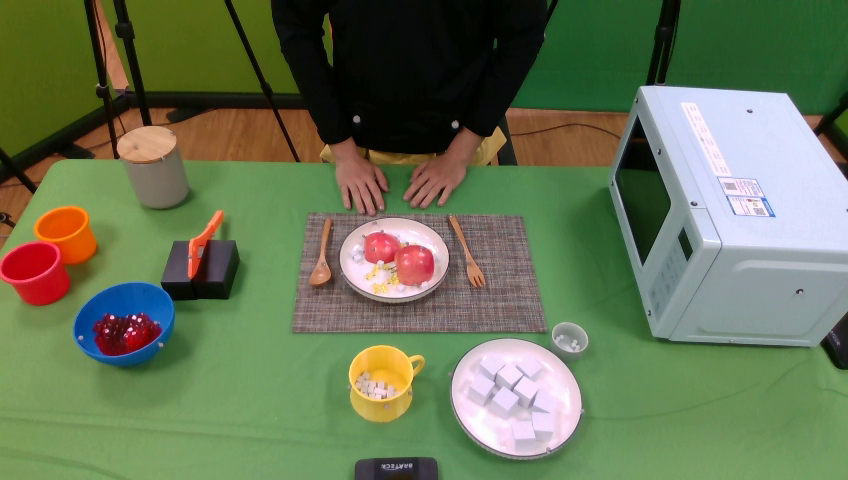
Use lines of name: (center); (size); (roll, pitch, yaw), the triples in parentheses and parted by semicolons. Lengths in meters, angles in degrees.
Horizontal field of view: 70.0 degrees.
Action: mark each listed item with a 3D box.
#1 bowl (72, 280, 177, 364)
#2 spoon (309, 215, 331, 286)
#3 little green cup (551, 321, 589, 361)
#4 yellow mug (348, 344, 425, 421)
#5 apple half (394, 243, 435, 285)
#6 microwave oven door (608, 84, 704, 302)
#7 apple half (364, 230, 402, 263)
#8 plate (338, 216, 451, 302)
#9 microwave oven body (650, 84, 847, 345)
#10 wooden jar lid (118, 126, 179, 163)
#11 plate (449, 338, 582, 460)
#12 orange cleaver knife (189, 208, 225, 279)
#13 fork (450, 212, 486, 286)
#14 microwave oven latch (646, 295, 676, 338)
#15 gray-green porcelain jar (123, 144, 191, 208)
bowl: (-0.472, 0.147, 0.982); (0.151, 0.077, 0.150); (2, 46, -2)
spoon: (-0.191, 0.016, 1.159); (0.041, 0.022, 0.192); (-14, 46, 13)
little green cup: (0.247, 0.175, 1.033); (0.061, 0.039, 0.061); (2, 45, -2)
yellow mug: (-0.054, 0.217, 0.954); (0.131, 0.064, 0.099); (-24, 53, -25)
apple half: (-0.017, 0.037, 1.120); (0.075, 0.053, 0.080); (1, 46, -6)
microwave oven door: (0.424, -0.096, 1.138); (0.039, 0.245, 0.353); (3, 46, -1)
apple half: (-0.079, 0.005, 1.159); (0.081, 0.033, 0.081); (3, 49, -3)
plate: (-0.054, 0.038, 1.138); (0.209, 0.038, 0.208); (2, 46, -2)
microwave oven body: (0.569, -0.054, 1.116); (0.326, 0.261, 0.439); (2, 46, -1)
wooden jar lid: (-0.528, -0.181, 1.167); (0.108, 0.021, 0.107); (4, 48, -4)
plate: (0.141, 0.251, 0.956); (0.208, 0.039, 0.206); (2, 46, -2)
orange cleaver knife: (-0.400, 0.002, 1.122); (0.012, 0.077, 0.210); (4, 23, -4)
fork: (0.082, 0.014, 1.183); (0.028, 0.019, 0.206); (-18, 50, 0)
microwave oven latch: (0.412, 0.133, 1.061); (0.030, 0.029, 0.078); (3, 46, 0)
gray-green porcelain jar: (-0.531, -0.137, 1.213); (0.106, 0.127, 0.105); (2, 46, -2)
